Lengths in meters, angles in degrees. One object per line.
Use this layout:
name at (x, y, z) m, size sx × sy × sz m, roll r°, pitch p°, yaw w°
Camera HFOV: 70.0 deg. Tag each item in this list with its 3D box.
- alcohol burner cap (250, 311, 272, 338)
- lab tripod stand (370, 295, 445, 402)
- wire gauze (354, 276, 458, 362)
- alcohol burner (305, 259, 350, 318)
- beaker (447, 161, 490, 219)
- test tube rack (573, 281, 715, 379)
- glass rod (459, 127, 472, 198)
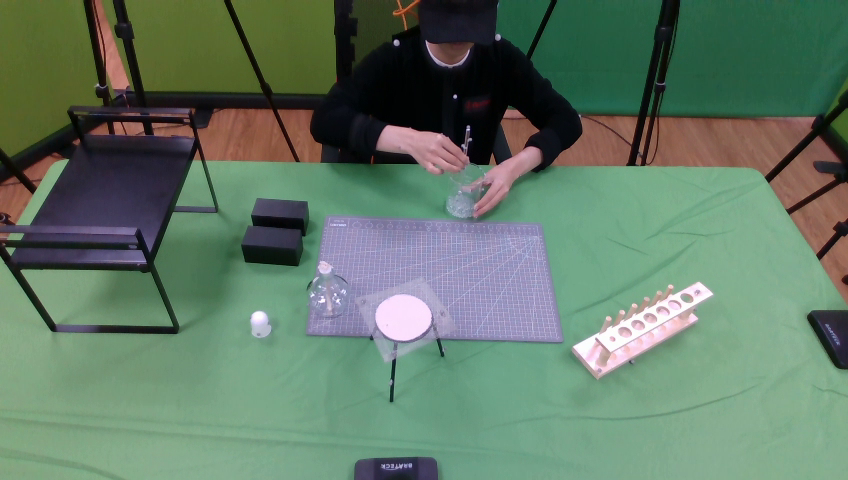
alcohol burner cap at (-0.278, 0.141, 1.026) m, size 0.034 × 0.048 × 0.033 m, roll 1°, pitch 46°, yaw -1°
lab tripod stand at (-0.036, 0.160, 0.959) m, size 0.148 × 0.132 × 0.147 m, roll 1°, pitch 46°, yaw 0°
wire gauze at (-0.029, 0.113, 0.912) m, size 0.121 × 0.011 × 0.124 m, roll -18°, pitch 49°, yaw -19°
alcohol burner at (-0.166, 0.078, 1.040) m, size 0.078 × 0.120 × 0.077 m, roll 1°, pitch 44°, yaw -1°
beaker at (0.087, -0.099, 1.243) m, size 0.084 × 0.101 × 0.073 m, roll 6°, pitch 46°, yaw 1°
test tube rack at (0.378, 0.140, 1.038) m, size 0.242 × 0.085 × 0.066 m, roll -22°, pitch 51°, yaw -23°
glass rod at (0.083, -0.151, 1.211) m, size 0.008 × 0.200 × 0.008 m, roll 2°, pitch 54°, yaw -2°
